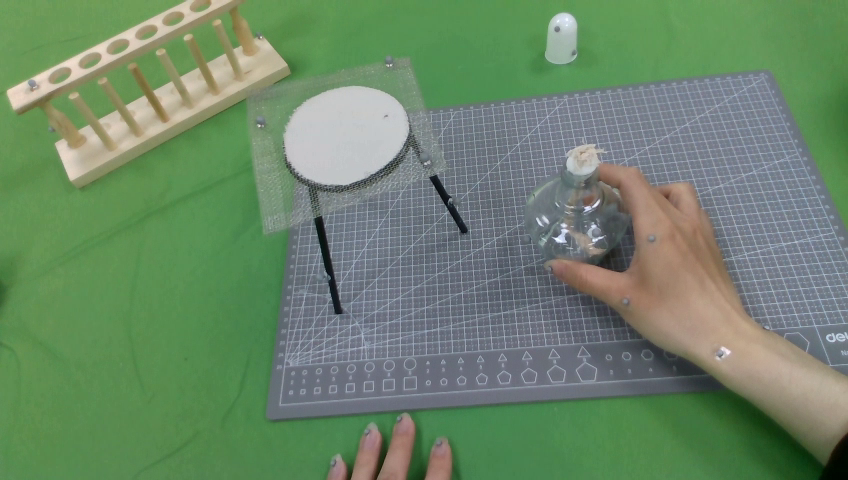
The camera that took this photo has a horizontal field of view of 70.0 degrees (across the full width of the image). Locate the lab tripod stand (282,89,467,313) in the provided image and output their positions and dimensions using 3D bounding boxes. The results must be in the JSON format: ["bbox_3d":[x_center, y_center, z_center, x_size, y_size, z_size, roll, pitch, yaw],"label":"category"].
[{"bbox_3d":[-0.045,-0.032,0.461,0.148,0.133,0.147,-3,59,6],"label":"lab tripod stand"}]

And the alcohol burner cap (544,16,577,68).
[{"bbox_3d":[0.137,-0.198,0.600,0.034,0.048,0.033,-4,57,7],"label":"alcohol burner cap"}]

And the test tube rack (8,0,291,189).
[{"bbox_3d":[-0.265,-0.157,0.608,0.242,0.086,0.066,-32,59,-12],"label":"test tube rack"}]

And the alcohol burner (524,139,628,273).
[{"bbox_3d":[0.113,-0.028,0.447,0.078,0.120,0.077,-5,54,7],"label":"alcohol burner"}]

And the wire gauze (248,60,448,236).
[{"bbox_3d":[-0.056,-0.070,0.406,0.121,0.011,0.124,-15,58,-1],"label":"wire gauze"}]
